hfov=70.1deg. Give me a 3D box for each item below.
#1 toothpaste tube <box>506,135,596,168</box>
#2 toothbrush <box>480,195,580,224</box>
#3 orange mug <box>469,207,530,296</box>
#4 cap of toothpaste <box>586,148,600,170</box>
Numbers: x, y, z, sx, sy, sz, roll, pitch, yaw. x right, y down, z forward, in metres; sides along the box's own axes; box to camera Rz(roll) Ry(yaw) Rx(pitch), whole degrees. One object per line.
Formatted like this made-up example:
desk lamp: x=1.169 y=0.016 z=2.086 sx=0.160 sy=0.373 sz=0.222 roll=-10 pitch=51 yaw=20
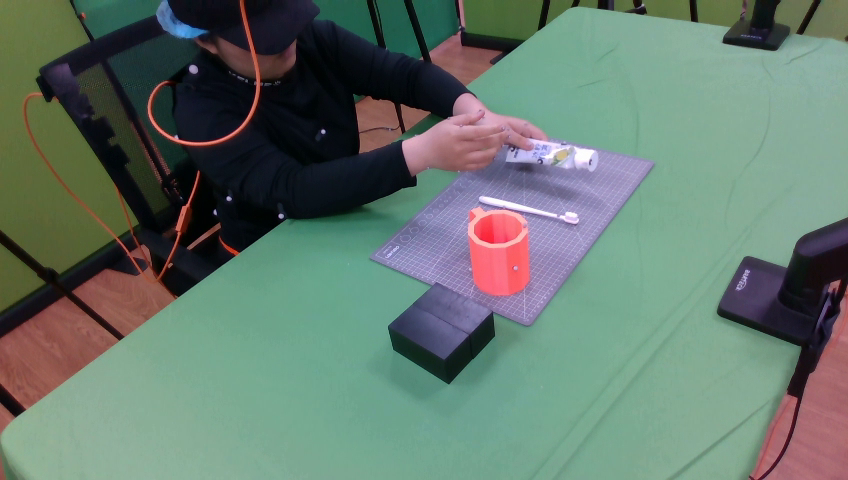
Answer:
toothpaste tube: x=0.222 y=-0.153 z=1.056 sx=0.164 sy=0.035 sz=0.055 roll=14 pitch=75 yaw=36
toothbrush: x=0.175 y=-0.054 z=1.016 sx=0.180 sy=0.017 sz=0.014 roll=15 pitch=58 yaw=29
orange mug: x=0.104 y=0.008 z=0.894 sx=0.084 sy=0.101 sz=0.125 roll=-22 pitch=46 yaw=-14
cap of toothpaste: x=0.281 y=-0.136 z=1.009 sx=0.011 sy=0.037 sz=0.037 roll=18 pitch=48 yaw=39
